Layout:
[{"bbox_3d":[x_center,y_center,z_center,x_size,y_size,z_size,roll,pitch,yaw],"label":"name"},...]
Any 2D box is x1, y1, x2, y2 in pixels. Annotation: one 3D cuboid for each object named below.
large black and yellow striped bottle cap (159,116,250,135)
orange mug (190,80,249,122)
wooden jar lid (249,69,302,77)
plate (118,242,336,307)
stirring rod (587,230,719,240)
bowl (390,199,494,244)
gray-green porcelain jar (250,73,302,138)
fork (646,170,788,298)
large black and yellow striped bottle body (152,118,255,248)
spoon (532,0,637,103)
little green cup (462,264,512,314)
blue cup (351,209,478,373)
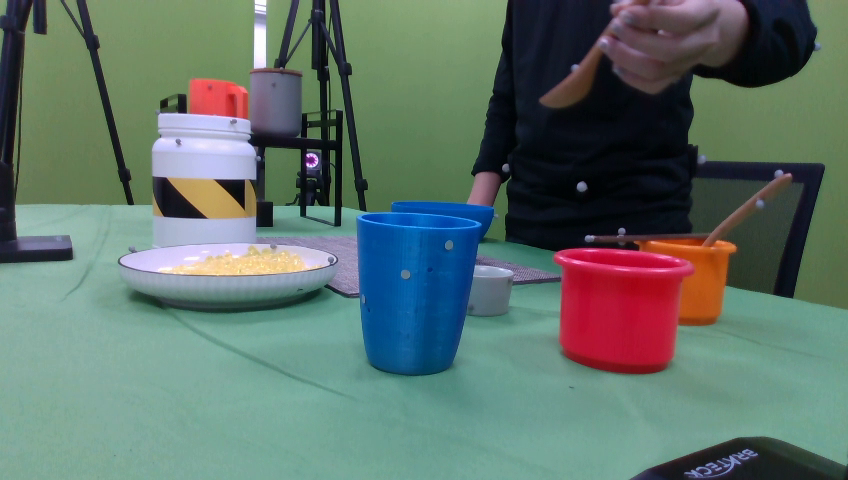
[{"bbox_3d":[-0.292,-0.153,0.810,0.115,0.019,0.115,3,9,0],"label":"large black and yellow striped bottle cap"},{"bbox_3d":[-0.393,-0.257,1.173,0.126,0.100,0.084,1,6,25],"label":"orange mug"},{"bbox_3d":[-0.309,-0.341,1.262,0.108,0.020,0.108,2,8,0],"label":"wooden jar lid"},{"bbox_3d":[-0.194,0.033,0.615,0.209,0.038,0.209,2,7,0],"label":"plate"},{"bbox_3d":[0.226,-0.005,0.587,0.177,0.006,0.014,-2,10,-29],"label":"stirring rod"},{"bbox_3d":[0.024,-0.015,0.872,0.151,0.077,0.151,3,7,0],"label":"bowl"},{"bbox_3d":[-0.312,-0.280,1.270,0.106,0.126,0.106,3,8,0],"label":"gray-green porcelain jar"},{"bbox_3d":[0.256,0.004,0.543,0.028,0.018,0.207,3,-37,-9],"label":"fork"},{"bbox_3d":[-0.296,-0.070,0.819,0.131,0.184,0.130,2,7,0],"label":"large black and yellow striped bottle body"},{"bbox_3d":[0.140,-0.164,0.499,0.042,0.021,0.193,-4,-20,-17],"label":"spoon"},{"bbox_3d":[0.053,0.047,0.580,0.061,0.038,0.061,3,8,0],"label":"little green cup"},{"bbox_3d":[-0.009,0.034,0.414,0.093,0.100,0.092,4,9,0],"label":"blue cup"}]
